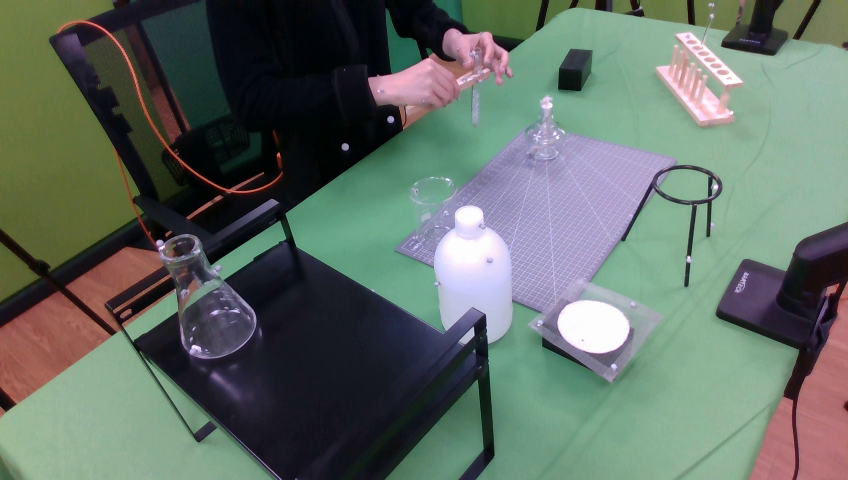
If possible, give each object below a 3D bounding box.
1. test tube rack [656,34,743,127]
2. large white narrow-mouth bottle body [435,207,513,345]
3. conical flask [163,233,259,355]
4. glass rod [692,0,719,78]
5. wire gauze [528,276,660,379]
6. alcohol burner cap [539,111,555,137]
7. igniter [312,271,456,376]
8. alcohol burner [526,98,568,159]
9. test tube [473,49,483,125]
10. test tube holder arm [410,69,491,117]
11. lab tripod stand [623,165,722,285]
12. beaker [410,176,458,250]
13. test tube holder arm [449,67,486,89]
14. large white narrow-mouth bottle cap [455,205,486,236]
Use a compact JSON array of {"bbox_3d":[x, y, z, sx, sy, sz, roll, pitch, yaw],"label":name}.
[{"bbox_3d":[0.553,-0.330,1.233,0.067,0.085,0.241,-7,40,2],"label":"test tube rack"},{"bbox_3d":[0.065,0.041,0.791,0.102,0.195,0.101,-4,41,4],"label":"large white narrow-mouth bottle body"},{"bbox_3d":[-0.216,0.051,0.601,0.075,0.122,0.075,-4,40,4],"label":"conical flask"},{"bbox_3d":[0.561,-0.402,1.214,0.008,0.200,0.008,-1,48,2],"label":"glass rod"},{"bbox_3d":[0.213,0.103,0.763,0.124,0.011,0.122,30,52,35],"label":"wire gauze"},{"bbox_3d":[0.243,-0.232,1.197,0.034,0.048,0.033,-5,38,4],"label":"alcohol burner cap"},{"bbox_3d":[-0.068,0.111,0.859,0.274,0.025,0.057,27,61,34],"label":"igniter"},{"bbox_3d":[0.228,-0.210,1.118,0.078,0.119,0.077,-5,43,5],"label":"alcohol burner"},{"bbox_3d":[0.094,-0.265,1.059,0.017,0.151,0.017,-2,48,2],"label":"test tube"},{"bbox_3d":[0.046,-0.247,1.007,0.179,0.015,0.013,-34,47,-29],"label":"test tube holder arm"},{"bbox_3d":[0.365,-0.030,0.875,0.148,0.132,0.147,-6,41,6],"label":"lab tripod stand"},{"bbox_3d":[0.022,-0.041,0.963,0.073,0.101,0.084,28,51,35],"label":"beaker"},{"bbox_3d":[0.074,-0.272,1.032,0.010,0.015,0.088,27,51,34],"label":"test tube holder arm"},{"bbox_3d":[0.057,-0.024,0.734,0.038,0.024,0.037,-4,40,4],"label":"large white narrow-mouth bottle cap"}]
